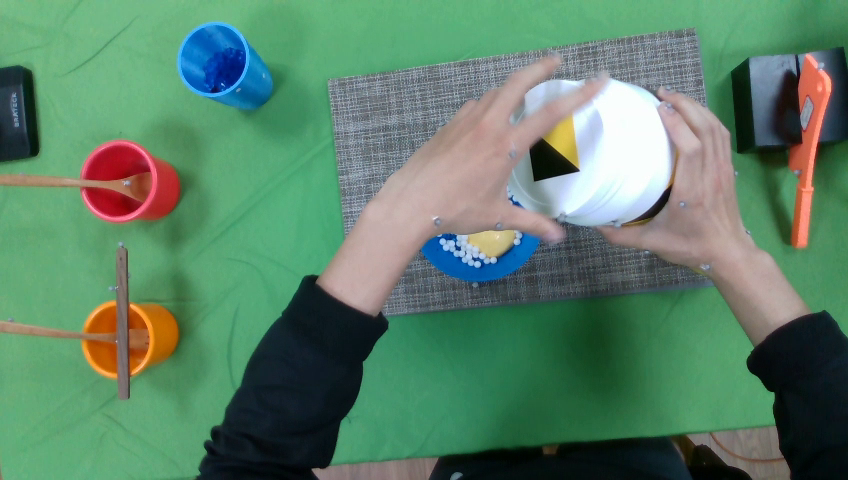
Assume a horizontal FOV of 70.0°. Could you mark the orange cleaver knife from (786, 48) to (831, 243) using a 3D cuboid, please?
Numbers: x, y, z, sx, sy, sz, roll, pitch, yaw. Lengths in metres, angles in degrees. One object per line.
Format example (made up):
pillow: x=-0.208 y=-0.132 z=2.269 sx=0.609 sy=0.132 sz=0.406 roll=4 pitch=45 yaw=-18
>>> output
orange cleaver knife: x=0.418 y=-0.100 z=0.671 sx=0.012 sy=0.076 sz=0.213 roll=-4 pitch=117 yaw=11

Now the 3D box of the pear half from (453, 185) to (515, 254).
pear half: x=0.065 y=-0.028 z=0.693 sx=0.070 sy=0.031 sz=0.087 roll=-33 pitch=82 yaw=2

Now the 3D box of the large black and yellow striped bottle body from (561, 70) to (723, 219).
large black and yellow striped bottle body: x=0.180 y=-0.085 z=0.567 sx=0.130 sy=0.185 sz=0.131 roll=4 pitch=95 yaw=48

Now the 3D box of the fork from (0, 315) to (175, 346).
fork: x=-0.399 y=0.104 z=0.707 sx=0.209 sy=0.018 sz=0.028 roll=14 pitch=99 yaw=-38

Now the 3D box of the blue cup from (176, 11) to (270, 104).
blue cup: x=-0.230 y=-0.204 z=0.723 sx=0.092 sy=0.100 sz=0.092 roll=0 pitch=89 yaw=7

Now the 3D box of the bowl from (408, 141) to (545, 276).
bowl: x=0.061 y=-0.033 z=0.700 sx=0.151 sy=0.077 sz=0.151 roll=0 pitch=89 yaw=6

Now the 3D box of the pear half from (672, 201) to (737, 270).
pear half: x=0.307 y=-0.002 z=0.661 sx=0.056 sy=0.110 sz=0.076 roll=-26 pitch=82 yaw=5

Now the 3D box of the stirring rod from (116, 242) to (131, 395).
stirring rod: x=-0.348 y=0.090 z=0.700 sx=0.014 sy=0.006 sz=0.176 roll=-2 pitch=89 yaw=4

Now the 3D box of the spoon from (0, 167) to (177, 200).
spoon: x=-0.395 y=-0.072 z=0.714 sx=0.195 sy=0.021 sz=0.041 roll=1 pitch=90 yaw=-38

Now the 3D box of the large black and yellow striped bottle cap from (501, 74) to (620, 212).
large black and yellow striped bottle cap: x=0.111 y=-0.081 z=0.510 sx=0.019 sy=0.114 sz=0.115 roll=-8 pitch=87 yaw=-39
